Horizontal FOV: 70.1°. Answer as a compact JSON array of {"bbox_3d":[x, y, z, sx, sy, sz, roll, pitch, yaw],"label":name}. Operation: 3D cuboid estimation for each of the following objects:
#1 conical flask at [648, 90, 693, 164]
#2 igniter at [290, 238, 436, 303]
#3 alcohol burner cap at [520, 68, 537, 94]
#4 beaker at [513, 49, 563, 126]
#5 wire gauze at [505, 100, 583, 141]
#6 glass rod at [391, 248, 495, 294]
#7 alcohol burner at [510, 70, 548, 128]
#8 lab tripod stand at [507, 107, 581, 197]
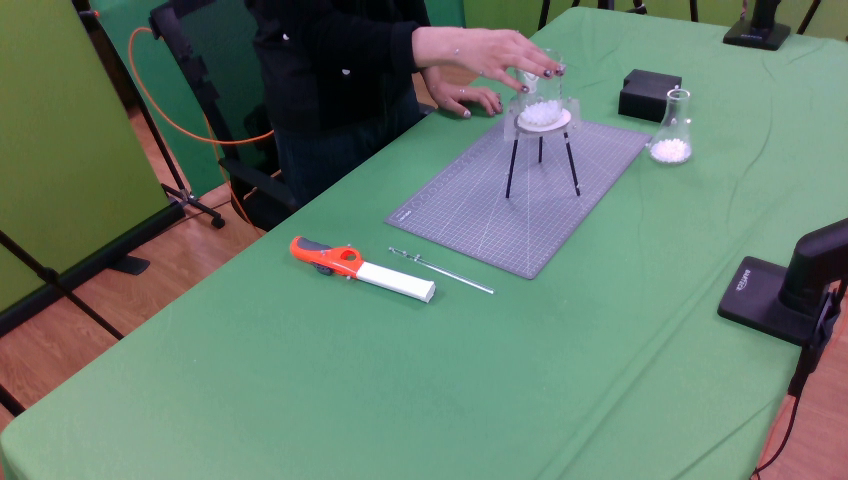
[{"bbox_3d":[0.437,-0.199,1.057,0.075,0.122,0.075,-5,40,5],"label":"conical flask"},{"bbox_3d":[-0.106,0.044,0.949,0.274,0.025,0.057,16,57,27],"label":"igniter"},{"bbox_3d":[0.205,-0.313,1.183,0.034,0.048,0.033,-3,49,5],"label":"alcohol burner cap"},{"bbox_3d":[0.181,-0.236,0.955,0.073,0.101,0.084,4,44,21],"label":"beaker"},{"bbox_3d":[0.194,-0.200,0.987,0.121,0.011,0.124,-2,39,12],"label":"wire gauze"},{"bbox_3d":[0.026,0.045,0.936,0.198,0.008,0.008,21,49,32],"label":"glass rod"},{"bbox_3d":[0.209,-0.287,1.208,0.078,0.119,0.077,-5,42,5],"label":"alcohol burner"},{"bbox_3d":[0.201,-0.151,1.033,0.148,0.132,0.147,-7,39,6],"label":"lab tripod stand"}]
